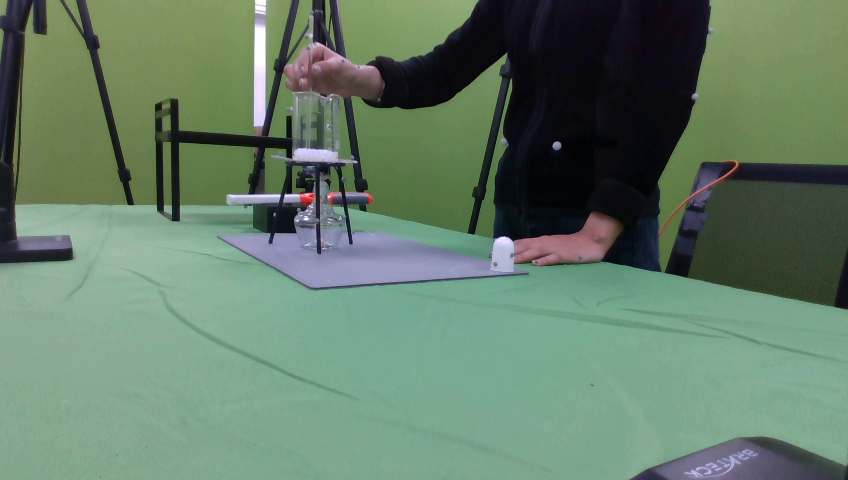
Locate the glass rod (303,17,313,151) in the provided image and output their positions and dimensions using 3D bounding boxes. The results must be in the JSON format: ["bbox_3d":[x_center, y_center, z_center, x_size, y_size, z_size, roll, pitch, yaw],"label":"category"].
[{"bbox_3d":[-0.174,-0.233,0.907,0.008,0.199,0.008,3,4,0],"label":"glass rod"}]

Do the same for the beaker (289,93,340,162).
[{"bbox_3d":[-0.162,-0.167,0.908,0.074,0.100,0.083,-4,10,-31],"label":"beaker"}]

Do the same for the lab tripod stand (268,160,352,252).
[{"bbox_3d":[-0.171,-0.055,0.921,0.148,0.131,0.148,1,9,0],"label":"lab tripod stand"}]

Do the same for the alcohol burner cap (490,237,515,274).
[{"bbox_3d":[0.104,0.020,0.793,0.034,0.048,0.034,2,6,0],"label":"alcohol burner cap"}]

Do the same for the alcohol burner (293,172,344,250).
[{"bbox_3d":[-0.159,-0.044,0.921,0.078,0.119,0.078,4,7,0],"label":"alcohol burner"}]

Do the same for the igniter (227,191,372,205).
[{"bbox_3d":[-0.232,-0.080,1.161,0.278,0.025,0.057,-3,12,-28],"label":"igniter"}]

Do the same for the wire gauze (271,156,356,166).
[{"bbox_3d":[-0.166,-0.120,0.916,0.125,0.011,0.121,-2,6,-9],"label":"wire gauze"}]
